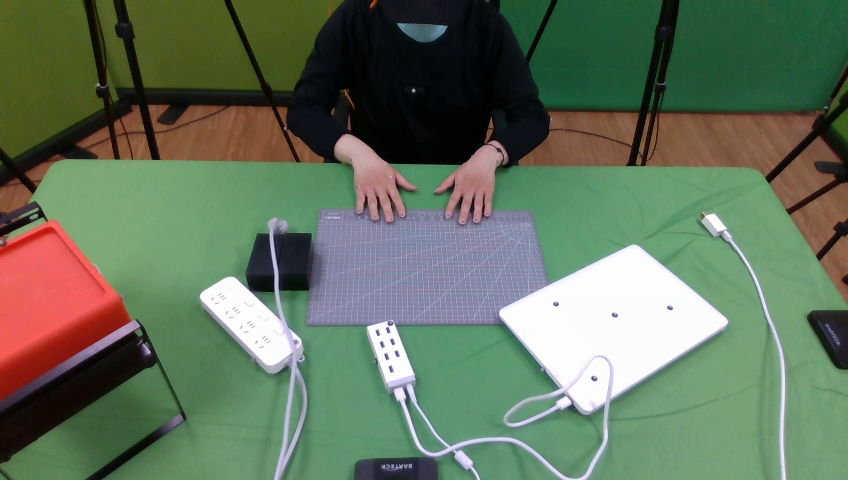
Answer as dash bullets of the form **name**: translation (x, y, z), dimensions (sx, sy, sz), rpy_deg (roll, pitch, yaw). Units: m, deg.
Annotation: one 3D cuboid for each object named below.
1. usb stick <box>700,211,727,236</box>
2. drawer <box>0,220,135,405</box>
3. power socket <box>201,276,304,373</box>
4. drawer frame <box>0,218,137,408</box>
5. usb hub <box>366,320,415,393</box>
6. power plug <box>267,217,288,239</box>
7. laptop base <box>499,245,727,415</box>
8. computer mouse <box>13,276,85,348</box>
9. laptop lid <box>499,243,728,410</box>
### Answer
- **usb stick**: translation (0.606, -0.038, 1.273), dimensions (0.027, 0.021, 0.059), rpy_deg (-18, 57, -20)
- **drawer**: translation (-0.522, 0.093, 0.782), dimensions (0.211, 0.073, 0.193), rpy_deg (-35, 58, -30)
- **power socket**: translation (-0.296, 0.141, 1.034), dimensions (0.225, 0.033, 0.072), rpy_deg (37, 55, 26)
- **drawer frame**: translation (-0.523, 0.094, 0.779), dimensions (0.200, 0.083, 0.213), rpy_deg (37, 55, 26)
- **usb hub**: translation (-0.056, 0.192, 1.009), dimensions (0.049, 0.025, 0.124), rpy_deg (-12, 49, -16)
- **power plug**: translation (-0.286, -0.014, 1.168), dimensions (0.035, 0.053, 0.072), rpy_deg (-14, 37, 23)
- **laptop base**: translation (0.339, 0.145, 1.088), dimensions (0.354, 0.023, 0.234), rpy_deg (-23, 49, -24)
- **computer mouse**: translation (-0.497, 0.090, 0.804), dimensions (0.063, 0.041, 0.116), rpy_deg (-7, 42, -7)
- **laptop lid**: translation (0.338, 0.135, 1.081), dimensions (0.357, 0.013, 0.240), rpy_deg (-21, 50, -23)
